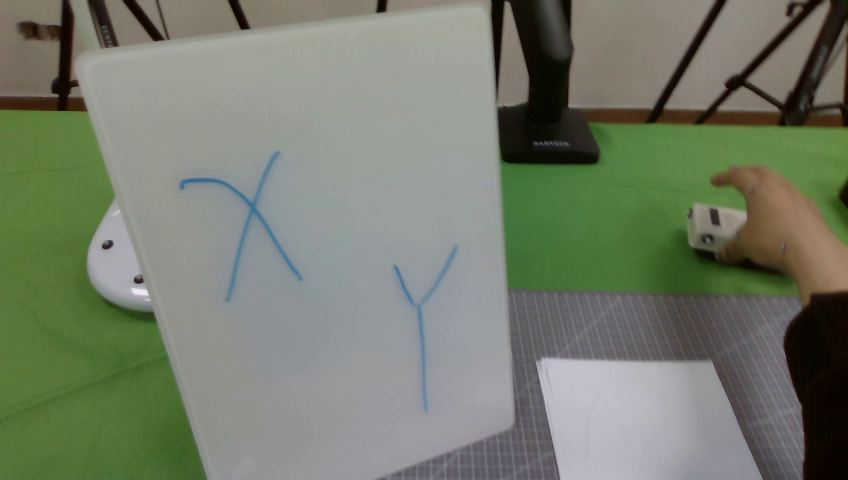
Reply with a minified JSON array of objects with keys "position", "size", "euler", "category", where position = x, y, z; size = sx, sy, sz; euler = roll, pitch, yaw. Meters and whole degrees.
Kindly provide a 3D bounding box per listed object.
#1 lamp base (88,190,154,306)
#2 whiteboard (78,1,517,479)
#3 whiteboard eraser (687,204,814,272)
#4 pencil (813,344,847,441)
[{"position":[-0.242,-0.059,0.540],"size":[0.177,0.182,0.160],"euler":[30,48,30],"category":"lamp base"},{"position":[-0.068,0.006,0.426],"size":[0.218,0.307,0.142],"euler":[-14,25,-17],"category":"whiteboard"},{"position":[0.329,-0.001,0.619],"size":[0.112,0.042,0.055],"euler":[12,44,10],"category":"whiteboard eraser"},{"position":[0.327,0.156,0.458],"size":[0.012,0.012,0.192],"euler":[9,43,6],"category":"pencil"}]
